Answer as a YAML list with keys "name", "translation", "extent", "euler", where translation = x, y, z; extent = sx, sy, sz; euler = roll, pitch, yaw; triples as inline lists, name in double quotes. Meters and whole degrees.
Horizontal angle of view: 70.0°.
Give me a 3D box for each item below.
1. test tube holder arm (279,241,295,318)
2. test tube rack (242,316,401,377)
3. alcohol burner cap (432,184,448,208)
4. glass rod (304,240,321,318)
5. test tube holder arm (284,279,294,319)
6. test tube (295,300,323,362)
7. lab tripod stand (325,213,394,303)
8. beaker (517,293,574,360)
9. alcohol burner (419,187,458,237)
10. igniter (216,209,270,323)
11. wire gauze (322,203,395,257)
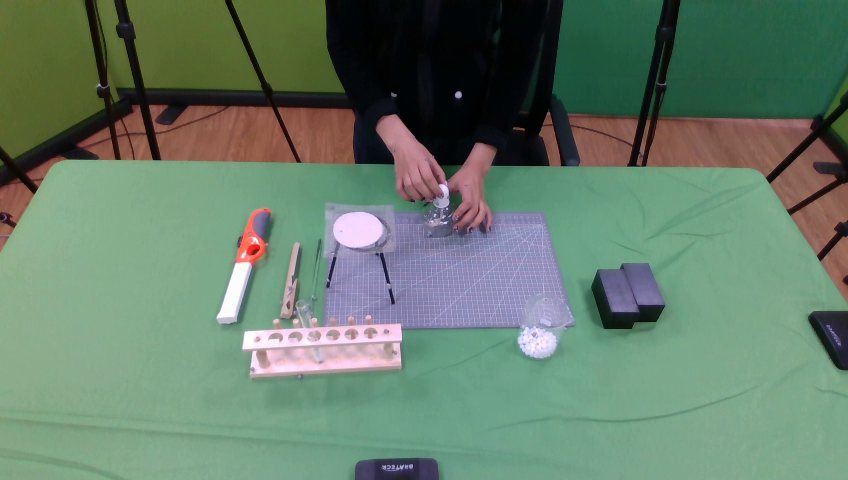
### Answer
- name: "test tube holder arm"
  translation: [-0.250, 0.068, 1.113]
  extent: [0.013, 0.015, 0.177]
  euler: [28, 37, -31]
- name: "test tube rack"
  translation: [-0.161, 0.166, 0.983]
  extent: [0.242, 0.085, 0.066]
  euler: [-2, 46, -6]
- name: "alcohol burner cap"
  translation: [0.031, -0.087, 1.169]
  extent: [0.034, 0.048, 0.033]
  euler: [0, 55, 0]
- name: "glass rod"
  translation: [-0.207, 0.068, 1.128]
  extent: [0.008, 0.008, 0.198]
  euler: [2, 43, -2]
- name: "test tube holder arm"
  translation: [-0.242, 0.103, 1.085]
  extent: [0.010, 0.015, 0.087]
  euler: [29, 36, -30]
- name: "test tube"
  translation: [-0.176, 0.143, 0.935]
  extent: [0.017, 0.151, 0.017]
  euler: [-2, 46, 2]
- name: "lab tripod stand"
  translation: [-0.104, 0.031, 1.080]
  extent: [0.148, 0.132, 0.147]
  euler: [4, 45, -4]
- name: "beaker"
  translation: [0.200, 0.149, 1.018]
  extent: [0.084, 0.101, 0.073]
  euler: [14, 47, 8]
- name: "alcohol burner"
  translation: [0.030, -0.063, 1.196]
  extent: [0.078, 0.119, 0.077]
  euler: [2, 48, -3]
- name: "igniter"
  translation: [-0.335, 0.039, 1.132]
  extent: [0.057, 0.025, 0.275]
  euler: [-3, 46, 6]
- name: "wire gauze"
  translation: [-0.111, -0.020, 1.035]
  extent: [0.121, 0.011, 0.124]
  euler: [0, 47, -7]
